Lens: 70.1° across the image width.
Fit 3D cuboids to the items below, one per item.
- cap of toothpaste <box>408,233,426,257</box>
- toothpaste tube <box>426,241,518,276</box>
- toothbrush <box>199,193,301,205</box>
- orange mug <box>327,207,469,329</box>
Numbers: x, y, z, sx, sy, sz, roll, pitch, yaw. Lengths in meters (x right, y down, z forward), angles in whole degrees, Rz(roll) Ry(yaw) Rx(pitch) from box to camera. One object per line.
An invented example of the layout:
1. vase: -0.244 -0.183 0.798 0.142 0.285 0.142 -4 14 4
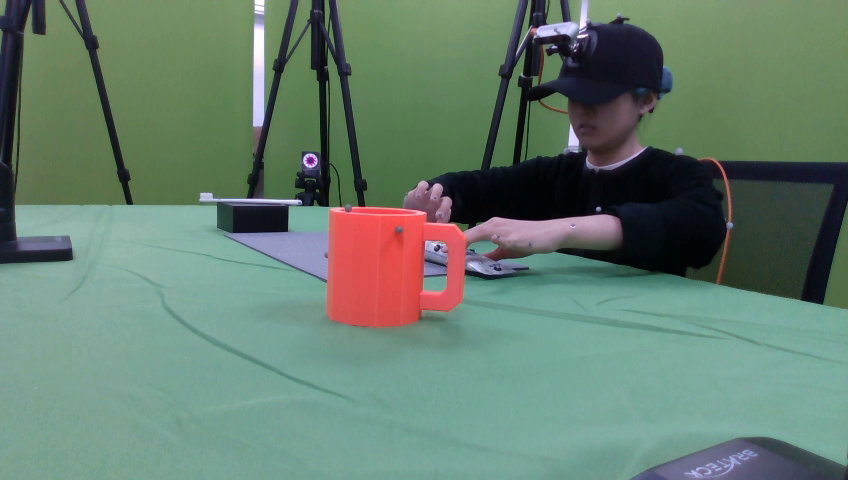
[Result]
1. cap of toothpaste: -0.008 0.008 0.864 0.011 0.037 0.037 8 9 38
2. toothpaste tube: 0.045 0.024 0.805 0.055 0.034 0.164 -9 18 -41
3. toothbrush: -0.323 -0.076 1.129 0.182 0.016 0.014 2 5 -15
4. orange mug: -0.024 0.021 0.535 0.126 0.100 0.083 -1 6 8
